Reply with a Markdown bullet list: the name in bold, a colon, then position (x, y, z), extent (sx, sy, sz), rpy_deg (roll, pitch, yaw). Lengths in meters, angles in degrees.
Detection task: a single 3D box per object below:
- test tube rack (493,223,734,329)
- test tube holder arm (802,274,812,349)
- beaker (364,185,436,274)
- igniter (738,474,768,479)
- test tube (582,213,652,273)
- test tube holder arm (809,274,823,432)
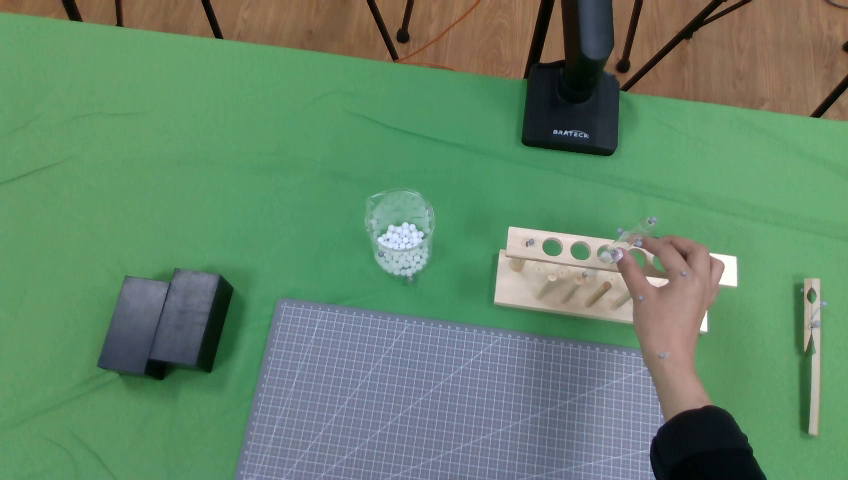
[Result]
- **test tube rack**: position (0.204, 0.042, 0.675), extent (0.242, 0.085, 0.066), rpy_deg (8, 70, 2)
- **test tube holder arm**: position (0.444, 0.083, 0.702), extent (0.010, 0.015, 0.087), rpy_deg (-3, 66, 35)
- **beaker**: position (-0.029, -0.009, 0.681), extent (0.083, 0.101, 0.074), rpy_deg (35, 73, 12)
- **igniter**: position (0.312, 0.372, 0.589), extent (0.057, 0.025, 0.275), rpy_deg (18, 70, -6)
- **test tube**: position (0.197, 0.007, 0.634), extent (0.017, 0.151, 0.017), rpy_deg (2, 70, -6)
- **test tube holder arm**: position (0.442, 0.124, 0.684), extent (0.013, 0.015, 0.177), rpy_deg (-5, 66, 35)
